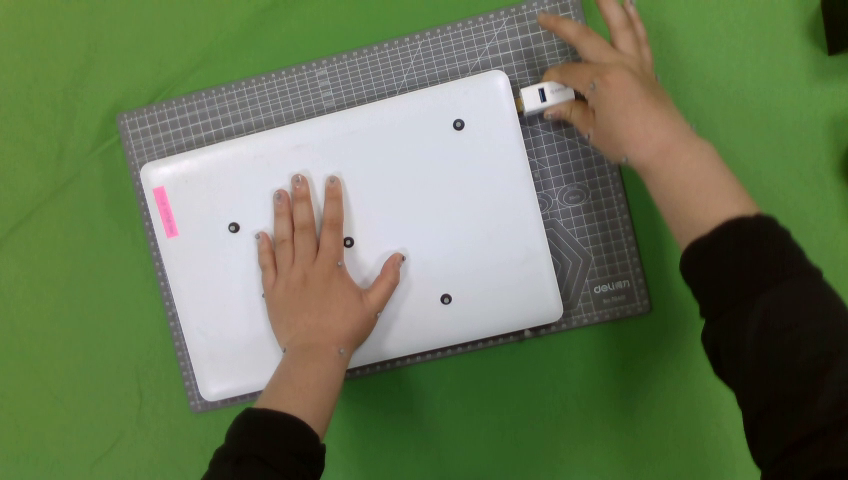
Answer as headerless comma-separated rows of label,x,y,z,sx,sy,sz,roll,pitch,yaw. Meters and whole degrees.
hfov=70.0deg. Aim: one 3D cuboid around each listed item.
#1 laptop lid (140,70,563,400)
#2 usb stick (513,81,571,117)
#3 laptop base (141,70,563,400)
laptop lid,-0.069,0.002,0.558,0.356,0.013,0.242,-13,95,5
usb stick,0.098,-0.124,0.537,0.059,0.027,0.021,-7,87,3
laptop base,-0.069,0.000,0.567,0.354,0.023,0.236,-14,96,5
